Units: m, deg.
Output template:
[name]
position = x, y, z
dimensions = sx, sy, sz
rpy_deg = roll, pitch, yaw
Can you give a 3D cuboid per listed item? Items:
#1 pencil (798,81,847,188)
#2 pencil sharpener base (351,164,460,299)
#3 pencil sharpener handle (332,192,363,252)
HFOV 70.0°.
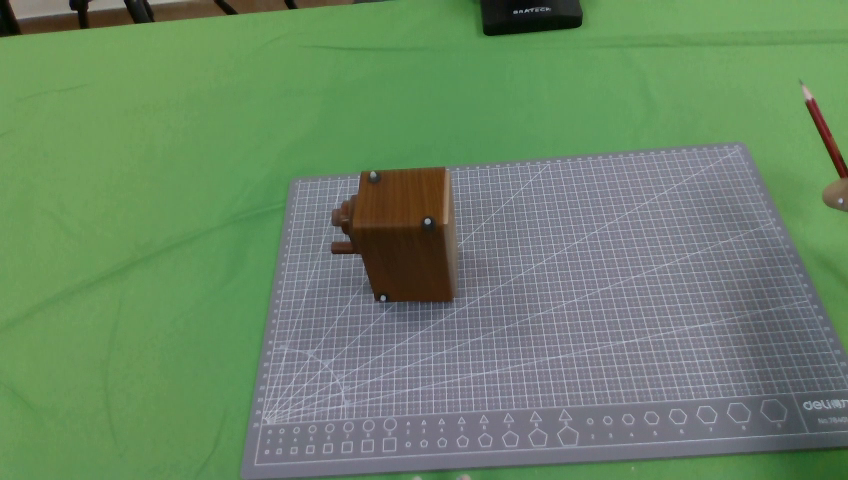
[pencil]
position = 0.333, -0.039, 0.469
dimensions = 0.012, 0.012, 0.193
rpy_deg = -19, 80, -7
[pencil sharpener base]
position = -0.012, -0.003, 0.488
dimensions = 0.076, 0.108, 0.061
rpy_deg = -2, 53, 6
[pencil sharpener handle]
position = -0.064, -0.010, 0.484
dimensions = 0.030, 0.068, 0.035
rpy_deg = -2, 57, 7
